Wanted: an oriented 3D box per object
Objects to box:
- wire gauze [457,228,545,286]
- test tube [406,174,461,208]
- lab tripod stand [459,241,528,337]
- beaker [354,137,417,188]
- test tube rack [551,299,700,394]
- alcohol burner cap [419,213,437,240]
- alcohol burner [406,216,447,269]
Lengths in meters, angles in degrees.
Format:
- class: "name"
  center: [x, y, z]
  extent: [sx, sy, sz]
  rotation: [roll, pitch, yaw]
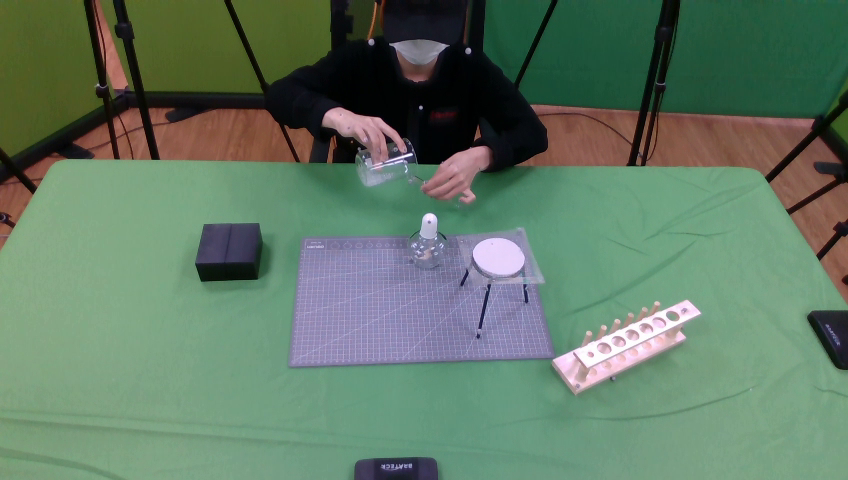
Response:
- class: "wire gauze"
  center: [0.126, 0.029, 1.006]
  extent: [0.125, 0.011, 0.120]
  rotation: [-4, 46, -10]
- class: "test tube"
  center: [0.021, -0.097, 1.214]
  extent: [0.151, 0.017, 0.017]
  rotation: [26, 31, -39]
- class: "lab tripod stand"
  center: [0.122, 0.075, 1.054]
  extent: [0.148, 0.132, 0.147]
  rotation: [3, 44, -3]
- class: "beaker"
  center: [-0.073, -0.140, 1.131]
  extent: [0.100, 0.084, 0.073]
  rotation: [-18, 39, -18]
- class: "test tube rack"
  center: [0.339, 0.166, 1.021]
  extent: [0.242, 0.085, 0.066]
  rotation: [-19, 50, -21]
- class: "alcohol burner cap"
  center: [0.009, -0.027, 1.109]
  extent: [0.034, 0.048, 0.033]
  rotation: [3, 44, -3]
- class: "alcohol burner"
  center: [0.006, -0.003, 1.134]
  extent: [0.078, 0.120, 0.077]
  rotation: [2, 48, -2]
